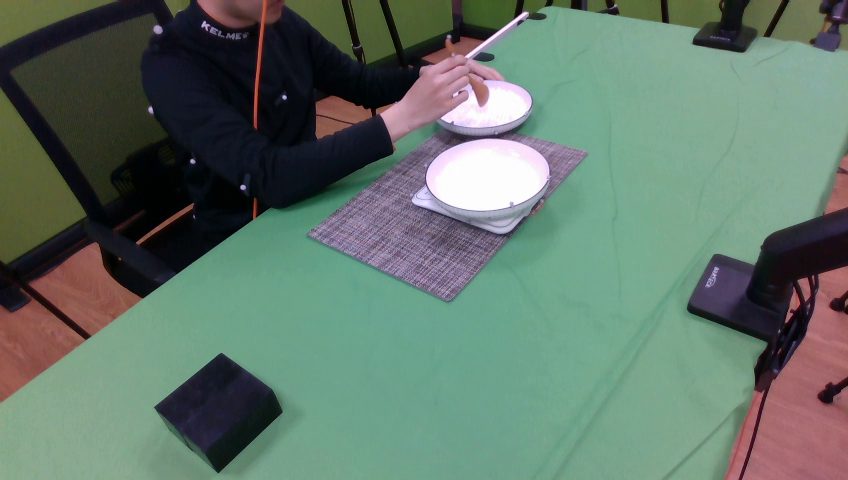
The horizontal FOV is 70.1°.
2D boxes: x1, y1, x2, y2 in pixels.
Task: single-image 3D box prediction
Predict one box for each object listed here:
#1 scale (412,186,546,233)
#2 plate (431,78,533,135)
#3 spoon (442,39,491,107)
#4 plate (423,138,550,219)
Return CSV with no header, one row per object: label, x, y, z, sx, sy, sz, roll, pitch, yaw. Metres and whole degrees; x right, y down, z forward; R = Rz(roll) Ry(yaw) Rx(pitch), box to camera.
scale,0.093,-0.083,1.039,0.199,0.032,0.149,22,48,30
plate,0.120,-0.271,1.249,0.209,0.038,0.208,-4,40,4
spoon,0.080,-0.311,1.131,0.021,0.195,0.041,19,79,40
plate,0.103,-0.099,1.005,0.207,0.039,0.206,-4,41,4
